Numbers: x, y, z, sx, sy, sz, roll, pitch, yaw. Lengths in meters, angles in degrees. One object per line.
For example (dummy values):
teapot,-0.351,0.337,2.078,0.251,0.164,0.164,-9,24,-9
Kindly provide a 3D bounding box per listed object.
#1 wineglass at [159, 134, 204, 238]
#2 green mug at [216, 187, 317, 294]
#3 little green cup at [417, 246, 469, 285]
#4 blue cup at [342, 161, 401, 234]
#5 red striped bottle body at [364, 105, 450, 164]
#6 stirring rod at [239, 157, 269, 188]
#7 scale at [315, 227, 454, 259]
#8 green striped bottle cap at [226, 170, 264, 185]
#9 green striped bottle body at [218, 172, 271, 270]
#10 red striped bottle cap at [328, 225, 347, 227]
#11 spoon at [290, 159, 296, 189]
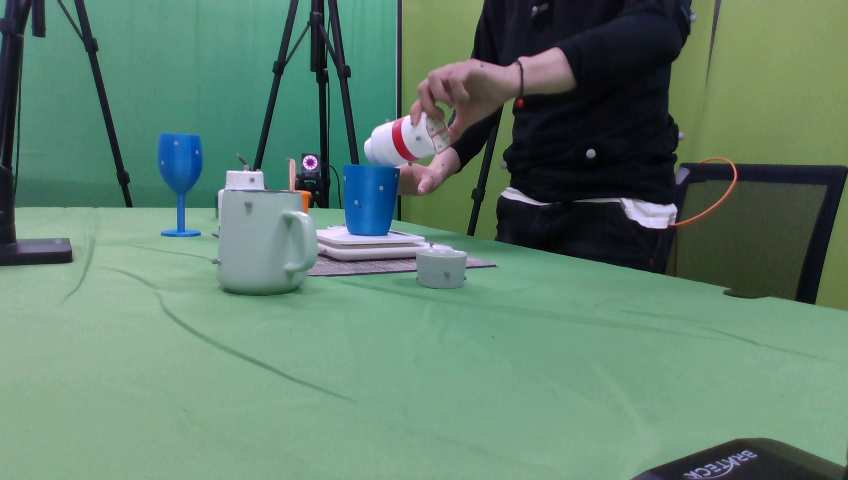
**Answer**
wineglass,-0.415,-0.093,1.040,0.074,0.172,0.073,2,7,0
green mug,-0.157,0.000,0.629,0.124,0.105,0.093,7,9,37
little green cup,0.021,0.029,0.701,0.061,0.038,0.061,1,6,0
blue cup,-0.079,-0.061,0.882,0.093,0.100,0.092,4,5,0
red striped bottle body,-0.028,-0.143,0.851,0.119,0.063,0.063,-12,-2,36
stirring rod,-0.309,-0.098,1.209,0.006,0.177,0.014,-39,29,-4
scale,-0.066,0.001,0.906,0.202,0.031,0.148,-2,8,-31
green striped bottle cap,-0.222,-0.076,0.748,0.044,0.020,0.044,1,7,0
green striped bottle body,-0.223,-0.025,0.755,0.063,0.119,0.063,2,7,0
red striped bottle cap,-0.152,-0.017,1.094,0.044,0.017,0.044,-2,4,0
spoon,-0.273,-0.102,1.252,0.042,0.193,0.021,6,-38,-16
